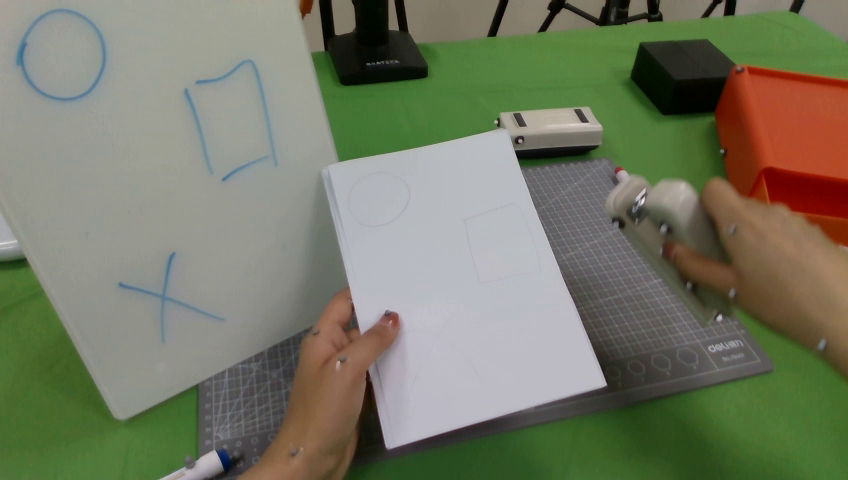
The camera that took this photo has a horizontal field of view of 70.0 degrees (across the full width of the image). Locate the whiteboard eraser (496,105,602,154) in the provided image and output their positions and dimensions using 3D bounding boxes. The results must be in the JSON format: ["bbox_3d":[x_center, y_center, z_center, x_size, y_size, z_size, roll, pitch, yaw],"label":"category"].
[{"bbox_3d":[0.143,-0.127,0.699,0.113,0.042,0.055,-4,45,-8],"label":"whiteboard eraser"}]

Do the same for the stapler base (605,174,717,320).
[{"bbox_3d":[0.194,0.005,0.467,0.041,0.024,0.131,-45,101,-9],"label":"stapler base"}]

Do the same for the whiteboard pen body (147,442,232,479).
[{"bbox_3d":[-0.191,0.168,0.382,0.141,0.017,0.017,-23,50,-27],"label":"whiteboard pen body"}]

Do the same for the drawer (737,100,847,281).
[{"bbox_3d":[0.422,-0.051,0.610,0.194,0.074,0.210,10,44,8],"label":"drawer"}]

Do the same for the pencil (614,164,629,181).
[{"bbox_3d":[0.229,-0.012,0.604,0.012,0.012,0.192,-5,47,-8],"label":"pencil"}]

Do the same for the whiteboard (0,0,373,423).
[{"bbox_3d":[-0.194,-0.064,0.461,0.217,0.308,0.142,-25,32,-26],"label":"whiteboard"}]

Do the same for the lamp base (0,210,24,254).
[{"bbox_3d":[-0.395,-0.103,0.537,0.178,0.182,0.160,19,46,19],"label":"lamp base"}]

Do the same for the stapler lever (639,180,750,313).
[{"bbox_3d":[0.202,0.005,0.443,0.027,0.040,0.118,-45,101,-9],"label":"stapler lever"}]

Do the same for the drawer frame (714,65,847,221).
[{"bbox_3d":[0.436,-0.095,0.654,0.201,0.083,0.212,10,44,7],"label":"drawer frame"}]
